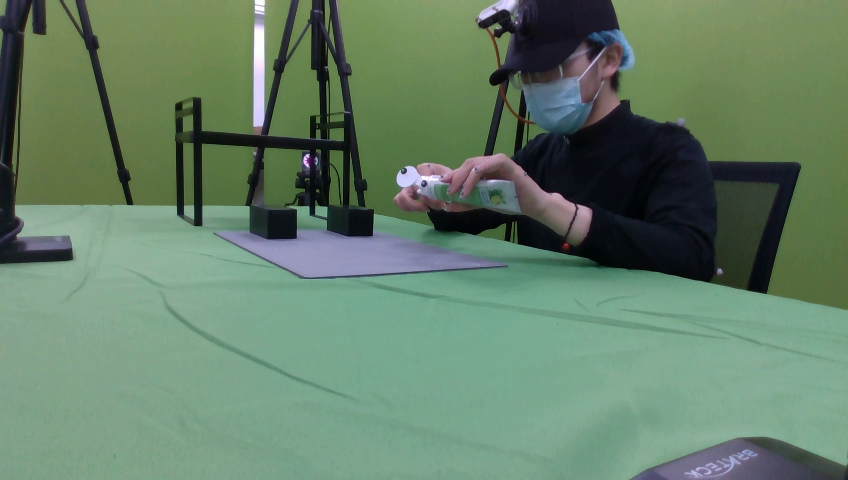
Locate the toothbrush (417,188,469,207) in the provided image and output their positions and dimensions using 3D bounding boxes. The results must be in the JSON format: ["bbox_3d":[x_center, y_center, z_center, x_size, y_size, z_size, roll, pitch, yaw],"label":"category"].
[{"bbox_3d":[0.036,-0.071,0.995,0.014,0.016,0.183,29,9,26],"label":"toothbrush"}]

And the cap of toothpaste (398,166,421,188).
[{"bbox_3d":[-0.021,-0.092,0.892,0.037,0.037,0.011,6,-16,27],"label":"cap of toothpaste"}]

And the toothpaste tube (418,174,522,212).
[{"bbox_3d":[0.060,-0.072,0.856,0.164,0.055,0.034,11,54,34],"label":"toothpaste tube"}]
